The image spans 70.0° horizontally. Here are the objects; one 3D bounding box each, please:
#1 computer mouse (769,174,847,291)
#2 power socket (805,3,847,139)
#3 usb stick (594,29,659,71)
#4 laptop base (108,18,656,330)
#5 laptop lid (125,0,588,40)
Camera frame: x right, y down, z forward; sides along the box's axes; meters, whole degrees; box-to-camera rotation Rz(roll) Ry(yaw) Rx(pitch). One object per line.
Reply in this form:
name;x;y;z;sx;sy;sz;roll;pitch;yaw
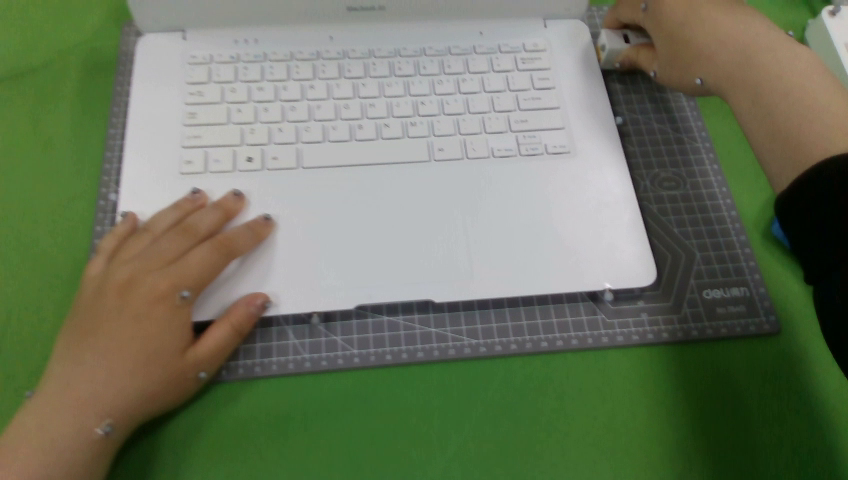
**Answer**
computer mouse;0.301;0.001;0.413;0.063;0.041;0.116;-38;66;-16
power socket;0.365;-0.099;0.469;0.072;0.033;0.225;-1;63;-3
usb stick;0.153;-0.151;0.481;0.059;0.027;0.021;0;66;-3
laptop base;-0.031;-0.060;0.438;0.355;0.023;0.233;-4;67;-5
laptop lid;-0.043;-0.240;0.397;0.357;0.244;0.013;-5;51;-4
